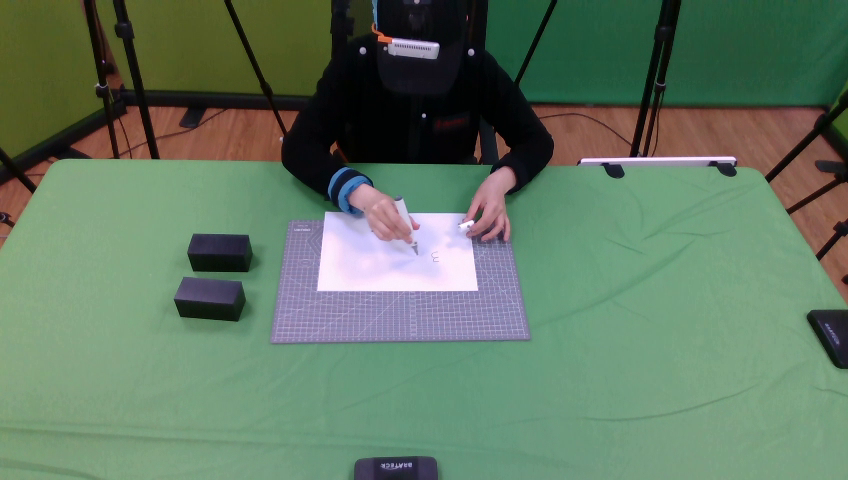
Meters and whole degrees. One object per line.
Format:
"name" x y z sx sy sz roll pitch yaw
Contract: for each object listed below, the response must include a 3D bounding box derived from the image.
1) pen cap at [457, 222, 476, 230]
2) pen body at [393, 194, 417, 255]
"pen cap" 0.085 -0.027 1.195 0.038 0.017 0.017 -1 43 -32
"pen body" -0.033 -0.025 1.121 0.017 0.145 0.017 -11 39 9
